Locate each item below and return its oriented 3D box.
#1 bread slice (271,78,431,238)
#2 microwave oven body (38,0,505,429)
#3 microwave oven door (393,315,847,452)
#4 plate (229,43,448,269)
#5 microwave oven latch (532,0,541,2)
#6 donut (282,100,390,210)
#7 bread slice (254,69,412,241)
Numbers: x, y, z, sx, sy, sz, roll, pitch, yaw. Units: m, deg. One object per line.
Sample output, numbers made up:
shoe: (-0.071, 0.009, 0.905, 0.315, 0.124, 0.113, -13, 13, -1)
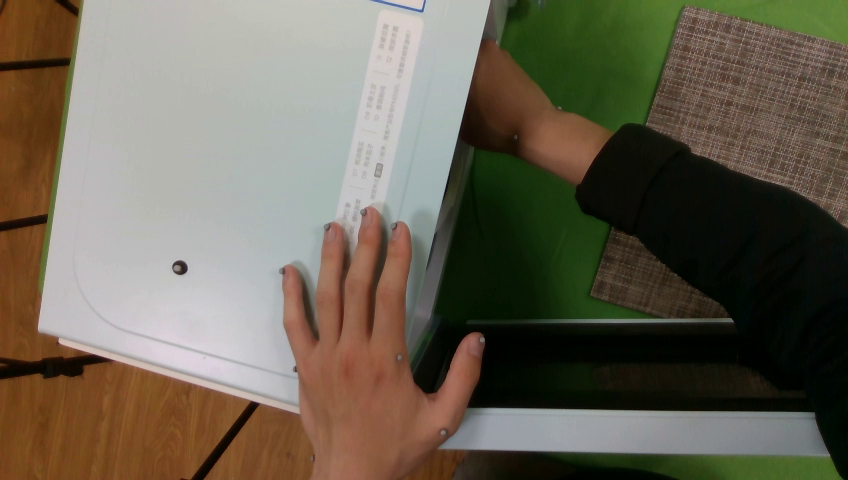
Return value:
bread slice: (-0.077, -0.082, 0.575, 0.107, 0.018, 0.135, -41, 103, 2)
microwave oven body: (-0.089, -0.125, 0.517, 0.325, 0.260, 0.442, 14, 100, 5)
microwave oven door: (0.170, 0.110, 0.509, 0.355, 0.243, 0.039, -2, 96, 8)
plate: (-0.079, -0.077, 0.576, 0.207, 0.039, 0.208, 1, 98, 7)
microwave oven latch: (0.108, -0.269, 0.570, 0.030, 0.029, 0.079, 15, 100, 5)
donut: (-0.079, -0.076, 0.545, 0.099, 0.048, 0.099, 1, 99, 4)
bread slice: (-0.087, -0.076, 0.519, 0.105, 0.019, 0.132, -29, 95, 11)
